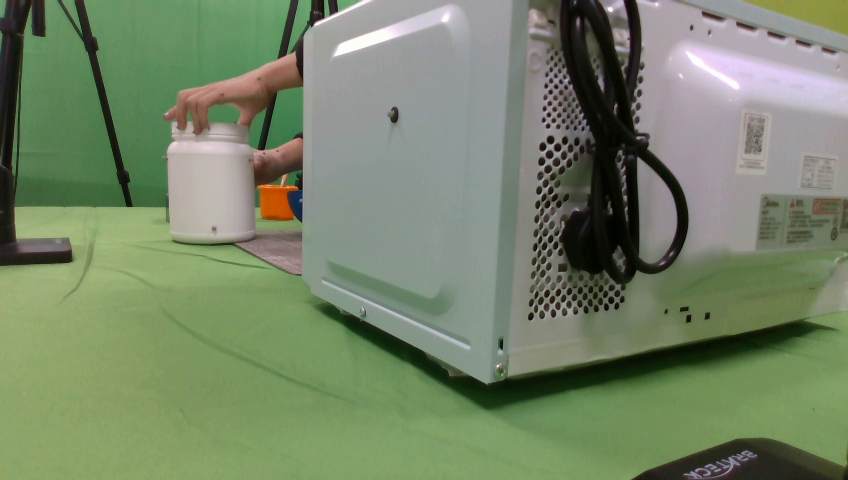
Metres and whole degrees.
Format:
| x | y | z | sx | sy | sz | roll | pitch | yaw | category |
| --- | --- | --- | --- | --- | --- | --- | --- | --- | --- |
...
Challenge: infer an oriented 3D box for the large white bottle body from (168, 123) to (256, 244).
| x | y | z | sx | sy | sz | roll | pitch | yaw | category |
| --- | --- | --- | --- | --- | --- | --- | --- | --- | --- |
| -0.342 | -0.093 | 0.978 | 0.131 | 0.184 | 0.130 | 1 | 8 | 0 | large white bottle body |

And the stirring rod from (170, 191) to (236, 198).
| x | y | z | sx | sy | sz | roll | pitch | yaw | category |
| --- | --- | --- | --- | --- | --- | --- | --- | --- | --- |
| -0.465 | -0.098 | 1.283 | 0.014 | 0.006 | 0.177 | 42 | 21 | 17 | stirring rod |

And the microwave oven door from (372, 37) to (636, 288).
| x | y | z | sx | sy | sz | roll | pitch | yaw | category |
| --- | --- | --- | --- | --- | --- | --- | --- | --- | --- |
| 0.110 | -0.080 | 0.686 | 0.358 | 0.243 | 0.039 | -2 | 9 | -33 | microwave oven door |

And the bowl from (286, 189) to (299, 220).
| x | y | z | sx | sy | sz | roll | pitch | yaw | category |
| --- | --- | --- | --- | --- | --- | --- | --- | --- | --- |
| -0.179 | -0.051 | 1.115 | 0.151 | 0.077 | 0.151 | 3 | 8 | 0 | bowl |

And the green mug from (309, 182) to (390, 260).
| x | y | z | sx | sy | sz | roll | pitch | yaw | category |
| --- | --- | --- | --- | --- | --- | --- | --- | --- | --- |
| -0.102 | -0.029 | 0.864 | 0.126 | 0.105 | 0.092 | -3 | 8 | -40 | green mug |

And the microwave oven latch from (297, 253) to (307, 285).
| x | y | z | sx | sy | sz | roll | pitch | yaw | category |
| --- | --- | --- | --- | --- | --- | --- | --- | --- | --- |
| -0.082 | 0.027 | 0.582 | 0.079 | 0.029 | 0.030 | -1 | 7 | -33 | microwave oven latch |

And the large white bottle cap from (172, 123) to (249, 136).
| x | y | z | sx | sy | sz | roll | pitch | yaw | category |
| --- | --- | --- | --- | --- | --- | --- | --- | --- | --- |
| -0.340 | -0.176 | 0.966 | 0.115 | 0.018 | 0.115 | 1 | 8 | 0 | large white bottle cap |

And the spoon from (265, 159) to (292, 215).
| x | y | z | sx | sy | sz | roll | pitch | yaw | category |
| --- | --- | --- | --- | --- | --- | --- | --- | --- | --- |
| -0.334 | -0.127 | 1.423 | 0.041 | 0.193 | 0.021 | 2 | -38 | 5 | spoon |

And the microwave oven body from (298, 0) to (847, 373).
| x | y | z | sx | sy | sz | roll | pitch | yaw | category |
| --- | --- | --- | --- | --- | --- | --- | --- | --- | --- |
| 0.151 | -0.055 | 0.542 | 0.444 | 0.260 | 0.324 | -2 | 7 | -33 | microwave oven body |
